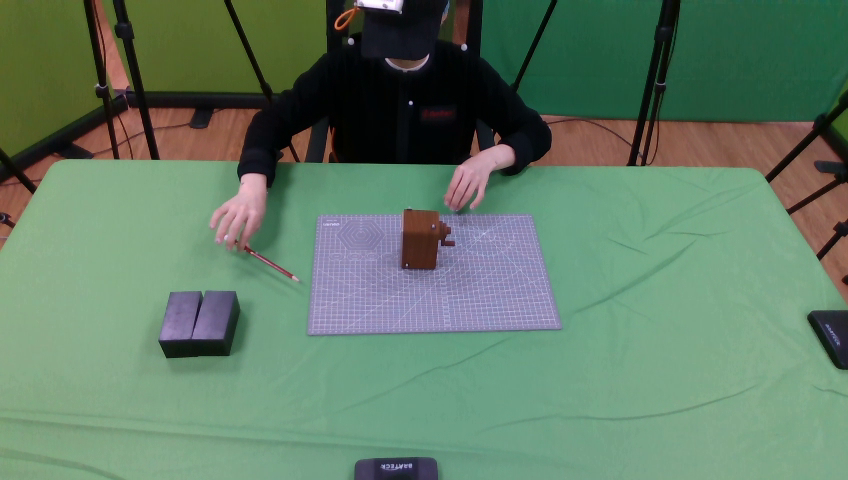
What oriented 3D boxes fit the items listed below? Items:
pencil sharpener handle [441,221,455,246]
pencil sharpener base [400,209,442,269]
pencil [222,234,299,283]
[{"bbox_3d":[0.046,-0.009,1.129,0.030,0.068,0.036,2,56,-2],"label":"pencil sharpener handle"},{"bbox_3d":[-0.006,0.000,1.134,0.077,0.107,0.061,2,46,-2],"label":"pencil sharpener base"},{"bbox_3d":[-0.304,0.034,1.123,0.193,0.012,0.012,29,51,20],"label":"pencil"}]
